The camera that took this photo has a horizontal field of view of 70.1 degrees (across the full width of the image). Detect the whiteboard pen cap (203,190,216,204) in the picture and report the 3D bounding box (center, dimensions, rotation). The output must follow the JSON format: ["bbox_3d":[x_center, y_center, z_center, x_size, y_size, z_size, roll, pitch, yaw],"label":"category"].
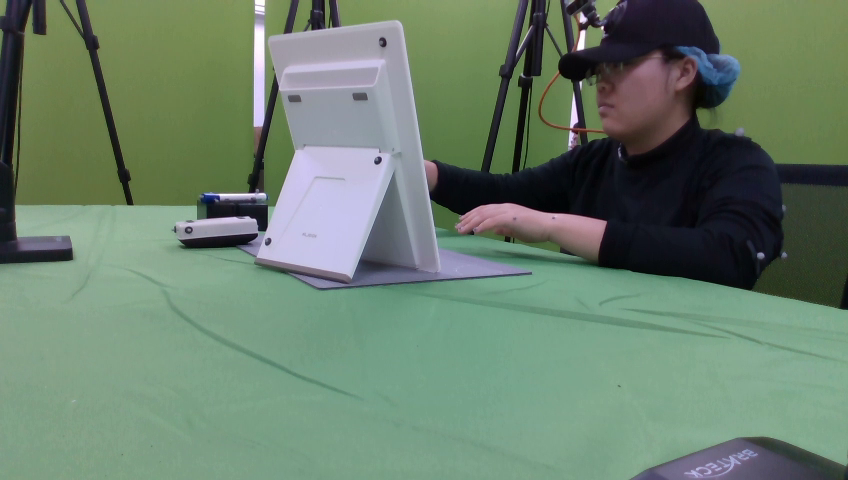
[{"bbox_3d":[-0.388,-0.077,1.093,0.018,0.018,0.033,2,25,-7],"label":"whiteboard pen cap"}]

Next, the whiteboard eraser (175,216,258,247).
[{"bbox_3d":[-0.313,-0.013,0.915,0.113,0.042,0.055,-5,12,-30],"label":"whiteboard eraser"}]

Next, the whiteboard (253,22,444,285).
[{"bbox_3d":[-0.125,-0.081,0.715,0.216,0.305,0.144,9,29,36],"label":"whiteboard"}]

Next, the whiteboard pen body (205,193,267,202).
[{"bbox_3d":[-0.354,-0.081,1.147,0.017,0.017,0.141,8,9,34],"label":"whiteboard pen body"}]
